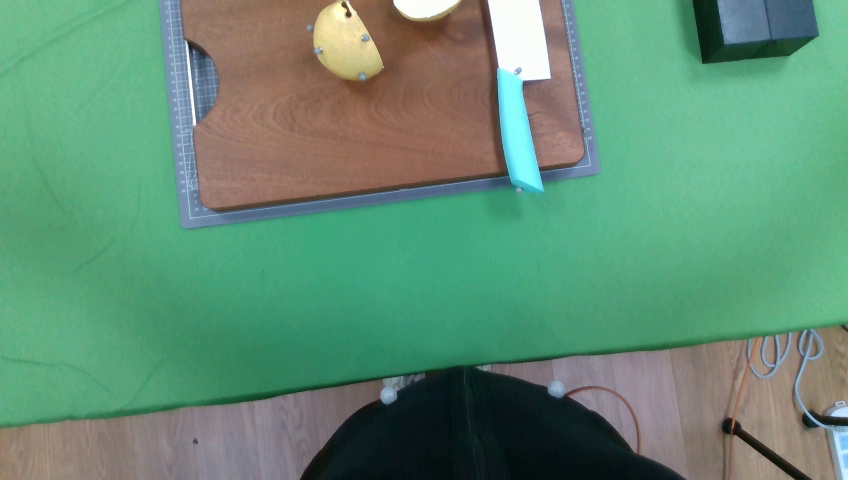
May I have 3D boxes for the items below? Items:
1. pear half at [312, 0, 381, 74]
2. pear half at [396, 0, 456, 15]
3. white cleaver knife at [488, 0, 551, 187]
[{"bbox_3d":[-0.080,-0.198,0.580,0.056,0.110,0.076,-38,82,-4],"label":"pear half"},{"bbox_3d":[0.010,-0.258,0.625,0.070,0.031,0.088,39,71,18],"label":"pear half"},{"bbox_3d":[0.101,-0.196,0.627,0.066,0.021,0.286,-6,86,-12],"label":"white cleaver knife"}]
